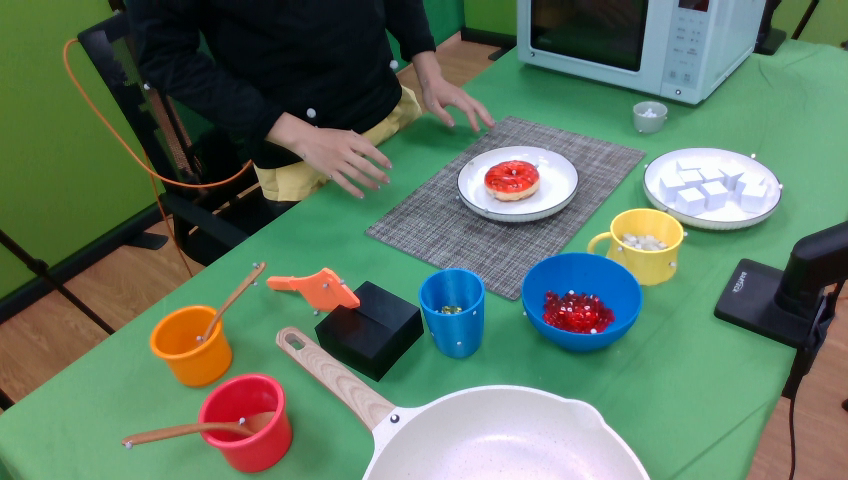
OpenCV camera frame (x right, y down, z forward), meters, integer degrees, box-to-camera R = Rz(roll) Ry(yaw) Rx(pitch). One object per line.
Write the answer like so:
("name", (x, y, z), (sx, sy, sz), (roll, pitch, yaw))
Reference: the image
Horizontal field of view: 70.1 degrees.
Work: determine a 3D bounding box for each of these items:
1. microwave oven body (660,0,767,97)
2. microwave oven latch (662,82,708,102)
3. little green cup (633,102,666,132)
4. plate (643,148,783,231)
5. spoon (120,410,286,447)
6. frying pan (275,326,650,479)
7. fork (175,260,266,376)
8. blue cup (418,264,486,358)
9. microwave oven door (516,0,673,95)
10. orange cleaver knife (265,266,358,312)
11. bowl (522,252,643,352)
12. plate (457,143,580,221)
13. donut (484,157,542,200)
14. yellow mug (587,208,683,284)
("microwave oven body", (0.473, -0.516, 1.313), (0.438, 0.261, 0.327), (26, 51, 34))
("microwave oven latch", (0.517, -0.298, 1.202), (0.078, 0.029, 0.030), (28, 52, 35))
("little green cup", (0.434, -0.238, 1.171), (0.061, 0.039, 0.061), (-4, 40, 4))
("plate", (0.464, -0.080, 0.986), (0.207, 0.039, 0.206), (-4, 41, 4))
("spoon", (-0.236, 0.208, 0.669), (0.041, 0.021, 0.195), (34, 12, 38))
("frying pan", (0.003, 0.229, 0.641), (0.484, 0.103, 0.308), (34, 54, 28))
("fork", (-0.268, 0.103, 0.792), (0.207, 0.019, 0.028), (-51, 41, 16))
("blue cup", (0.042, 0.100, 0.787), (0.092, 0.101, 0.092), (-5, 41, 5))
("microwave oven door", (0.344, -0.458, 1.256), (0.353, 0.245, 0.039), (26, 51, 33))
("orange cleaver knife", (-0.164, 0.073, 0.864), (0.210, 0.077, 0.012), (-6, 31, 50))
("bowl", (0.204, 0.093, 0.792), (0.151, 0.077, 0.150), (-4, 40, 4))
("plate", (0.162, -0.097, 1.042), (0.209, 0.038, 0.208), (-4, 40, 4))
("donut", (0.153, -0.107, 1.039), (0.099, 0.048, 0.098), (-6, 37, 5))
("yellow mug", (0.305, 0.009, 0.884), (0.131, 0.064, 0.099), (-4, 41, 5))
